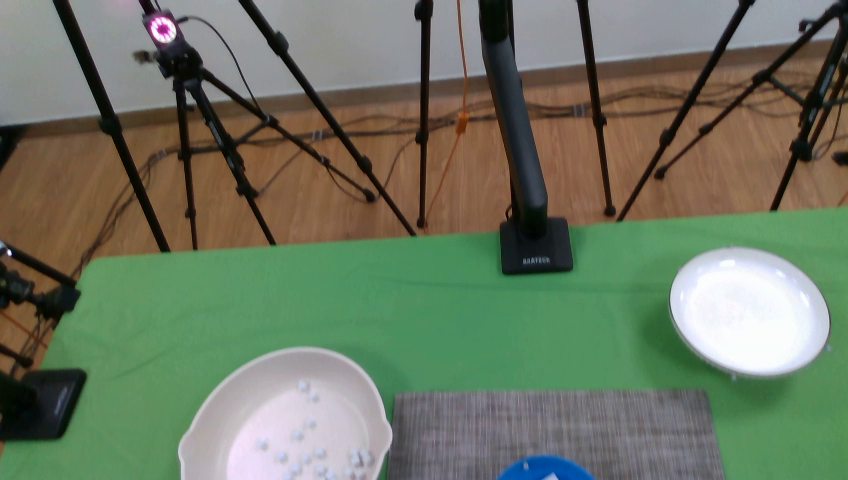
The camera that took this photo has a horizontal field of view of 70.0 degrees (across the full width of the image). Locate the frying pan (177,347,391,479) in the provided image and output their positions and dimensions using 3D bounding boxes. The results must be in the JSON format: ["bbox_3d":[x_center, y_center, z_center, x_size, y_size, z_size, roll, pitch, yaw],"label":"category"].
[{"bbox_3d":[-0.197,0.370,0.791,0.306,0.104,0.483,-5,44,8],"label":"frying pan"}]

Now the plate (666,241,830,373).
[{"bbox_3d":[0.450,0.095,0.857,0.207,0.039,0.205,-5,54,7],"label":"plate"}]

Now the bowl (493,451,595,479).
[{"bbox_3d":[0.152,0.350,0.752,0.151,0.077,0.150,-5,53,7],"label":"bowl"}]
